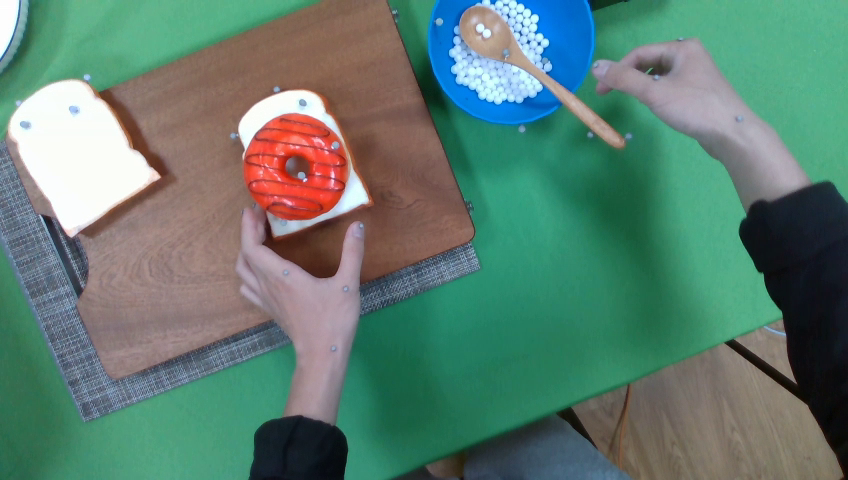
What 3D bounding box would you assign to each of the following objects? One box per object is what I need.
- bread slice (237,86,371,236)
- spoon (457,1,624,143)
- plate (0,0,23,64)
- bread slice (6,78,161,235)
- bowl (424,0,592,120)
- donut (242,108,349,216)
[{"bbox_3d":[-0.124,-0.080,0.588,0.105,0.019,0.132,-22,96,0],"label":"bread slice"},{"bbox_3d":[0.104,-0.151,0.550,0.192,0.022,0.041,44,95,15],"label":"spoon"},{"bbox_3d":[-0.493,-0.240,0.593,0.208,0.039,0.208,0,95,0],"label":"plate"},{"bbox_3d":[-0.335,-0.085,0.586,0.107,0.018,0.134,-36,93,2],"label":"bread slice"},{"bbox_3d":[0.075,-0.185,0.578,0.151,0.076,0.151,0,95,0],"label":"bowl"},{"bbox_3d":[-0.118,-0.071,0.559,0.099,0.048,0.099,0,96,0],"label":"donut"}]
